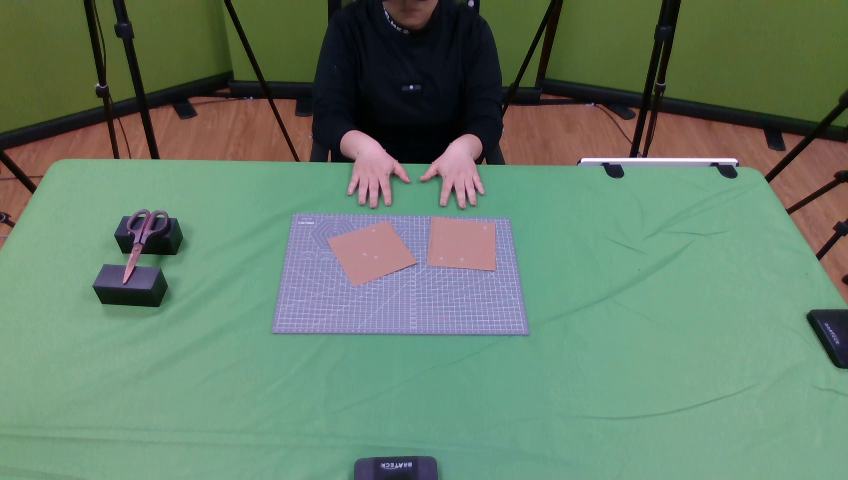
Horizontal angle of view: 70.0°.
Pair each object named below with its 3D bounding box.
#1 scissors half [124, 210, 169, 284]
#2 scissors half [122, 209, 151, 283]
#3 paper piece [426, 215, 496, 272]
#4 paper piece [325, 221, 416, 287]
[{"bbox_3d":[-0.501,0.010,1.088,0.040,0.013,0.174,9,48,0],"label":"scissors half"},{"bbox_3d":[-0.521,0.008,1.085,0.040,0.013,0.174,1,48,-14],"label":"scissors half"},{"bbox_3d":[0.075,0.006,1.204,0.138,0.009,0.135,6,49,1],"label":"paper piece"},{"bbox_3d":[-0.105,0.022,1.174,0.135,0.004,0.135,-19,50,-21],"label":"paper piece"}]
